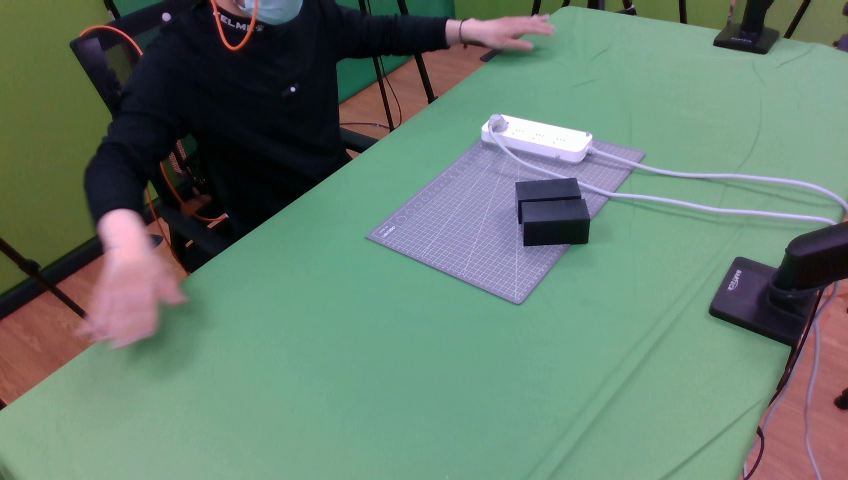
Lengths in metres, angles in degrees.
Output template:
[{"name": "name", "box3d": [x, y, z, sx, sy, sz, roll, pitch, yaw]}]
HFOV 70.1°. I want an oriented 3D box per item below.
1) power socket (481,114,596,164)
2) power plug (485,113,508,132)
[{"name": "power socket", "box3d": [0.211, -0.196, 1.154, 0.225, 0.033, 0.072, 20, 48, 27]}, {"name": "power plug", "box3d": [0.131, -0.214, 1.158, 0.035, 0.053, 0.073, 30, 58, 34]}]
